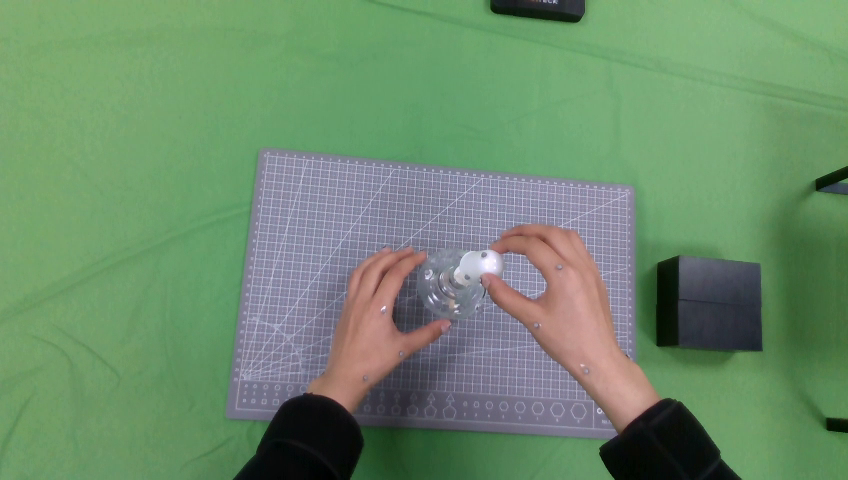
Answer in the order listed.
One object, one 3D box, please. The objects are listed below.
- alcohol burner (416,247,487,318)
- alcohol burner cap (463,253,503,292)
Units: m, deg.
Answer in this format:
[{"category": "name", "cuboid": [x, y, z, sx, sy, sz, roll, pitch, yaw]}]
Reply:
[{"category": "alcohol burner", "cuboid": [0.033, 0.043, 0.636, 0.078, 0.119, 0.077, 2, 79, -9]}, {"category": "alcohol burner cap", "cuboid": [0.055, 0.028, 0.553, 0.034, 0.048, 0.033, 2, 77, -8]}]
